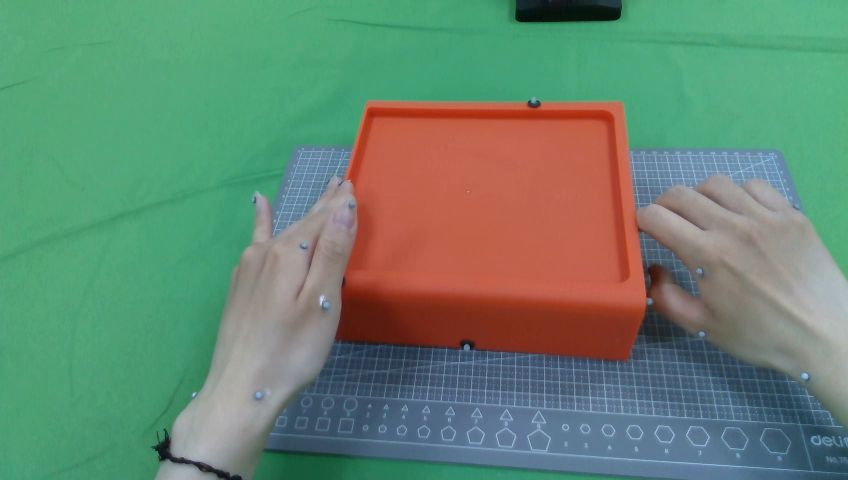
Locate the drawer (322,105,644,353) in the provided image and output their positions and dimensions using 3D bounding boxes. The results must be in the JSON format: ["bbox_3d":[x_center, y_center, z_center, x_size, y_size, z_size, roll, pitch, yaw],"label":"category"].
[{"bbox_3d":[0.049,-0.018,0.465,0.211,0.074,0.193,2,52,9],"label":"drawer"}]

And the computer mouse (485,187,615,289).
[{"bbox_3d":[0.097,-0.010,0.458,0.062,0.041,0.117,12,39,35],"label":"computer mouse"}]

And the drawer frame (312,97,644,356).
[{"bbox_3d":[0.047,-0.019,0.463,0.213,0.083,0.200,2,52,8],"label":"drawer frame"}]
